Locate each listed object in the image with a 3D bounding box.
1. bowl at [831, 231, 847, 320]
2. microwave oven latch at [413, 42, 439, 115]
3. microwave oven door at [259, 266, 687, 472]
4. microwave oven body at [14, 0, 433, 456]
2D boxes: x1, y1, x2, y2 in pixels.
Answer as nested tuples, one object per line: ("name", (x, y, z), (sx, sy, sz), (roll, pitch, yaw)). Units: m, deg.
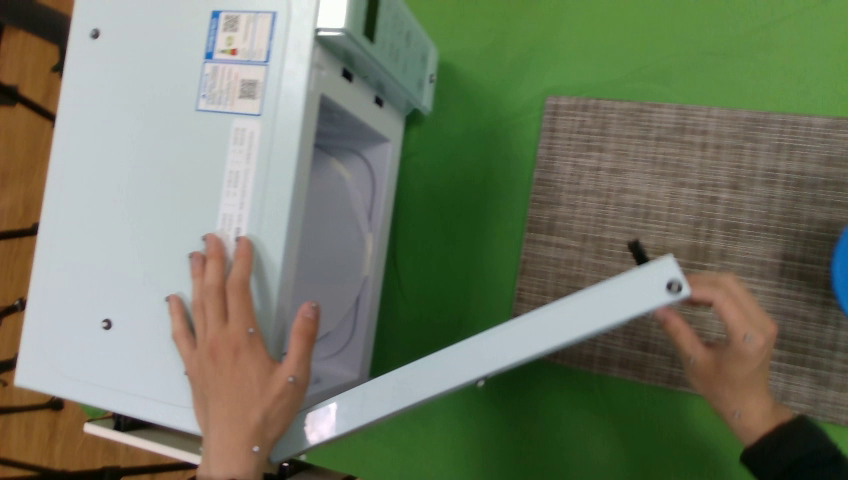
("bowl", (0.445, 0.035, 0.546), (0.151, 0.077, 0.151), (-2, 85, 18))
("microwave oven latch", (-0.001, -0.190, 0.713), (0.030, 0.029, 0.079), (8, 88, 18))
("microwave oven door", (0.056, 0.111, 0.563), (0.355, 0.245, 0.039), (-27, 77, 14))
("microwave oven body", (-0.196, -0.042, 0.660), (0.325, 0.261, 0.441), (8, 88, 17))
